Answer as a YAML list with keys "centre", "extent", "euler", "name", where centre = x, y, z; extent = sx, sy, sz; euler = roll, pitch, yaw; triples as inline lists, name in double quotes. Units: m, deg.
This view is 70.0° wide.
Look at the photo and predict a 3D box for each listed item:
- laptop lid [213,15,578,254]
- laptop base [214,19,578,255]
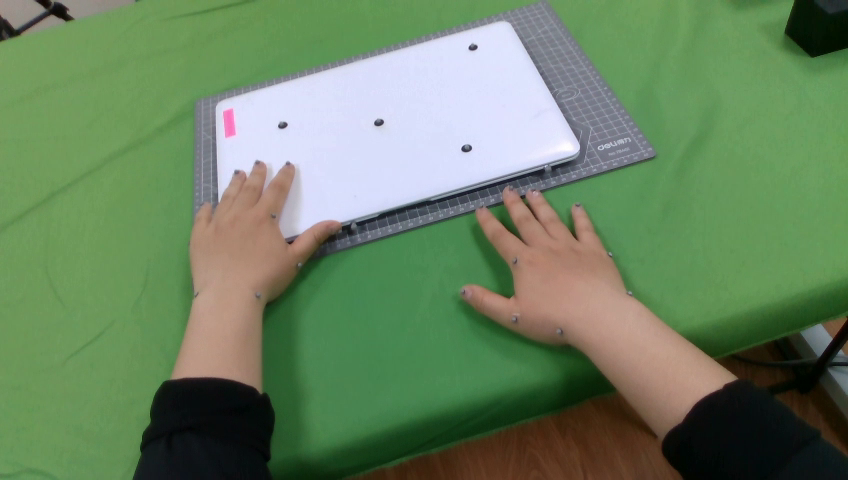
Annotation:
- centre: [-0.048, -0.124, 0.629]
  extent: [0.357, 0.013, 0.239]
  euler: [-15, 53, 0]
  name: "laptop lid"
- centre: [-0.046, -0.118, 0.640]
  extent: [0.354, 0.023, 0.233]
  euler: [-17, 54, -1]
  name: "laptop base"
